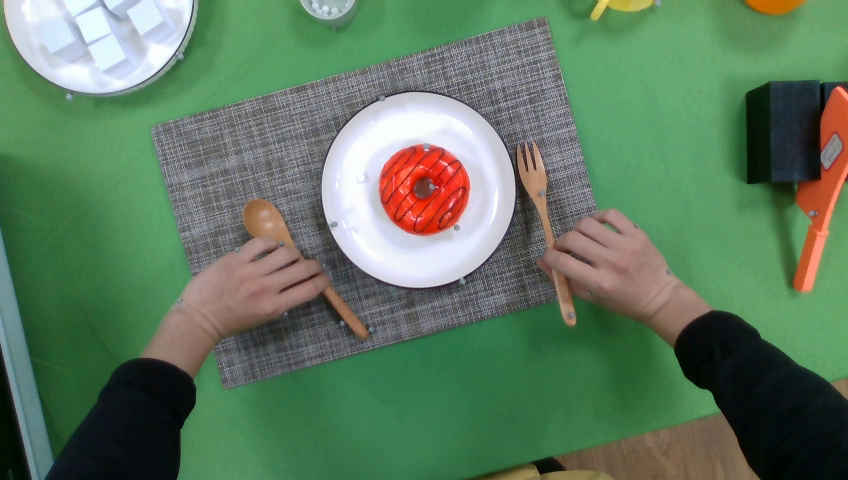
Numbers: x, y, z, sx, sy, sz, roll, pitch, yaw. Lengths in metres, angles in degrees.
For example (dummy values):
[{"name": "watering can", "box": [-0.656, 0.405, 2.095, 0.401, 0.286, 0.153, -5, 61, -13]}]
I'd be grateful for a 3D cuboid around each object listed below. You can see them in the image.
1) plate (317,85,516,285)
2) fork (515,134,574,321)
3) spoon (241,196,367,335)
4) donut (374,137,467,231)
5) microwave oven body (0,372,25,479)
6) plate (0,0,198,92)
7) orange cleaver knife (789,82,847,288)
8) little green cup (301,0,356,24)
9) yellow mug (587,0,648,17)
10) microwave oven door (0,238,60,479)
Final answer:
[{"name": "plate", "box": [-0.008, -0.057, 0.646, 0.209, 0.038, 0.209, 0, 92, 1]}, {"name": "fork", "box": [0.126, -0.017, 0.629, 0.028, 0.019, 0.206, -11, 70, 2]}, {"name": "spoon", "box": [-0.128, 0.030, 0.656, 0.193, 0.021, 0.041, 48, 52, 0]}, {"name": "donut", "box": [-0.003, -0.058, 0.634, 0.099, 0.048, 0.099, 0, 92, 3]}, {"name": "microwave oven body", "box": [-0.598, 0.135, 0.553, 0.326, 0.260, 0.441, -12, 92, 1]}, {"name": "plate", "box": [-0.342, -0.260, 0.650, 0.207, 0.039, 0.207, 0, 92, 1]}, {"name": "orange cleaver knife", "box": [0.402, -0.051, 0.619, 0.012, 0.076, 0.213, 0, 121, 4]}, {"name": "little green cup", "box": [-0.101, -0.263, 0.645, 0.061, 0.038, 0.061, 0, 91, 2]}, {"name": "yellow mug", "box": [0.208, -0.288, 0.624, 0.100, 0.064, 0.131, 33, 93, 0]}, {"name": "microwave oven door", "box": [-0.446, 0.146, 0.545, 0.039, 0.244, 0.355, -13, 91, 2]}]
